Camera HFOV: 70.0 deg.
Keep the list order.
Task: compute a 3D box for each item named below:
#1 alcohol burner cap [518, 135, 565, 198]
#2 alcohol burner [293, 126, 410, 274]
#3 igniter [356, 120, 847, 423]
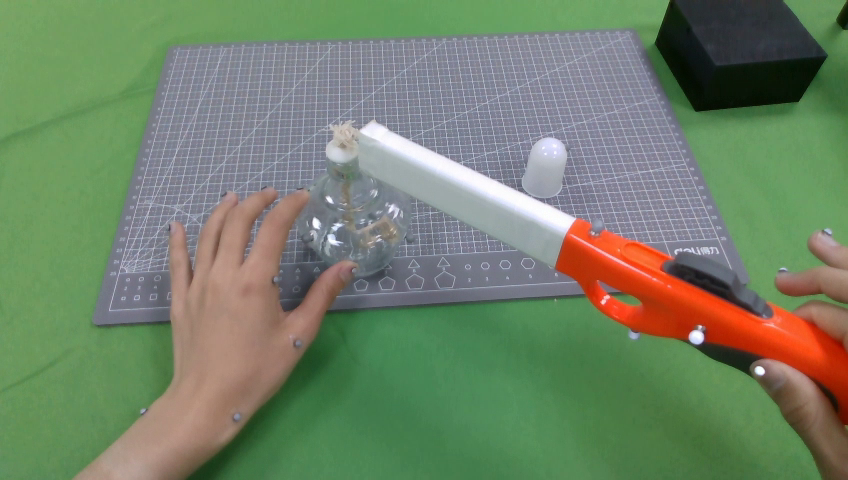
[{"bbox_3d":[0.091,-0.059,0.462,0.034,0.048,0.033,1,53,-2],"label":"alcohol burner cap"},{"bbox_3d":[-0.049,-0.030,0.394,0.078,0.120,0.077,0,56,1],"label":"alcohol burner"},{"bbox_3d":[0.080,0.007,0.302,0.275,0.057,0.025,28,51,19],"label":"igniter"}]
